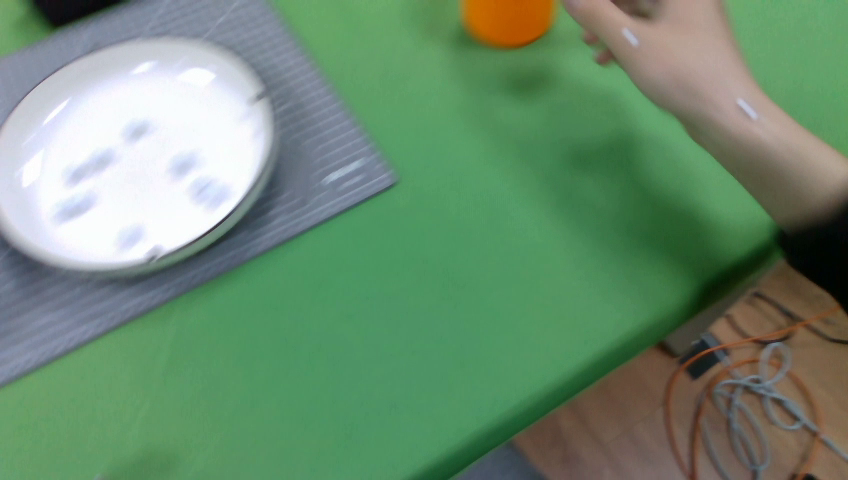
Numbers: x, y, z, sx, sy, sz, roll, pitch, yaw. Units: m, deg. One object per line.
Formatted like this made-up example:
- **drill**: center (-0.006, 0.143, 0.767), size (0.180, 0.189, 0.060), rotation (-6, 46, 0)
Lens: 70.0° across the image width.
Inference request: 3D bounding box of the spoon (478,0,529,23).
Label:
- **spoon**: center (0.110, -0.246, 0.460), size (0.022, 0.194, 0.041), rotation (-8, 58, -51)

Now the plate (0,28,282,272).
- **plate**: center (-0.206, -0.068, 0.449), size (0.209, 0.038, 0.207), rotation (-1, 64, 2)
